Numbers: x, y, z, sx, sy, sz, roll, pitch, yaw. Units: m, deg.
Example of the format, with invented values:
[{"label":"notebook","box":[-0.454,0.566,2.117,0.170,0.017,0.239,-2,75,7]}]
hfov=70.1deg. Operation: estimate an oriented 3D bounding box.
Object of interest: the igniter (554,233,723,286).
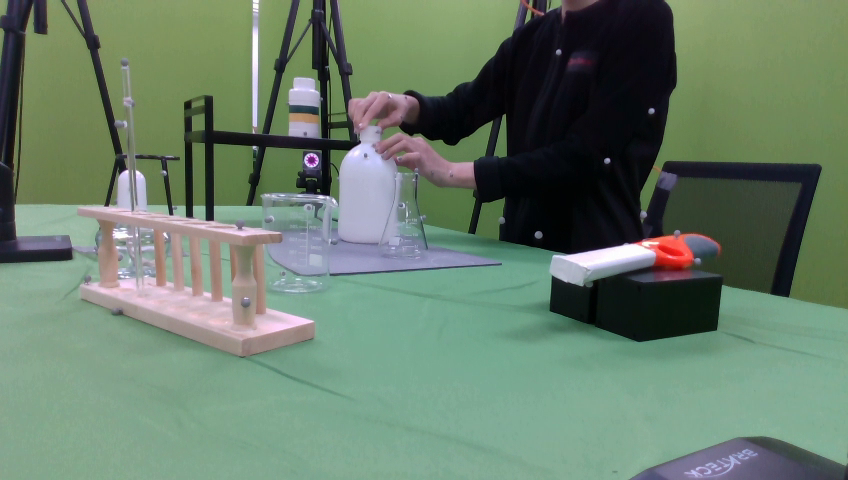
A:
[{"label":"igniter","box":[0.214,0.015,0.570,0.278,0.025,0.057,-5,22,-44]}]

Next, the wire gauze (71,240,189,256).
[{"label":"wire gauze","box":[-0.399,0.013,0.820,0.126,0.011,0.121,-3,8,-37]}]

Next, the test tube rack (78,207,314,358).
[{"label":"test tube rack","box":[-0.196,0.024,0.500,0.241,0.085,0.067,8,8,37]}]

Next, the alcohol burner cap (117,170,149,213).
[{"label":"alcohol burner cap","box":[-0.320,-0.052,0.661,0.034,0.048,0.034,-3,0,0]}]

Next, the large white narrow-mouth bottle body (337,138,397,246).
[{"label":"large white narrow-mouth bottle body","box":[-0.094,-0.093,1.018,0.102,0.194,0.101,3,9,0]}]

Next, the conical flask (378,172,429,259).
[{"label":"conical flask","box":[-0.027,-0.037,0.869,0.075,0.122,0.075,2,7,0]}]

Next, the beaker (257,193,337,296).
[{"label":"beaker","box":[-0.130,0.004,0.628,0.084,0.100,0.074,5,8,15]}]

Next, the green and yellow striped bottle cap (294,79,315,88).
[{"label":"green and yellow striped bottle cap","box":[-0.248,-0.323,1.256,0.045,0.020,0.045,3,8,0]}]

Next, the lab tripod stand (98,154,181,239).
[{"label":"lab tripod stand","box":[-0.427,-0.066,0.942,0.148,0.131,0.148,1,6,0]}]

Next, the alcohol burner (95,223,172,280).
[{"label":"alcohol burner","box":[-0.320,-0.016,0.667,0.078,0.119,0.078,0,7,0]}]

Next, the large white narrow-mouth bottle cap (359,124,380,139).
[{"label":"large white narrow-mouth bottle cap","box":[-0.090,-0.179,1.002,0.038,0.024,0.037,3,9,0]}]

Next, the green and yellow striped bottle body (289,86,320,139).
[{"label":"green and yellow striped bottle body","box":[-0.250,-0.272,1.261,0.063,0.119,0.063,3,7,0]}]

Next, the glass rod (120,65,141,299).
[{"label":"glass rod","box":[-0.249,-0.047,0.513,0.008,0.199,0.008,-1,4,0]}]
